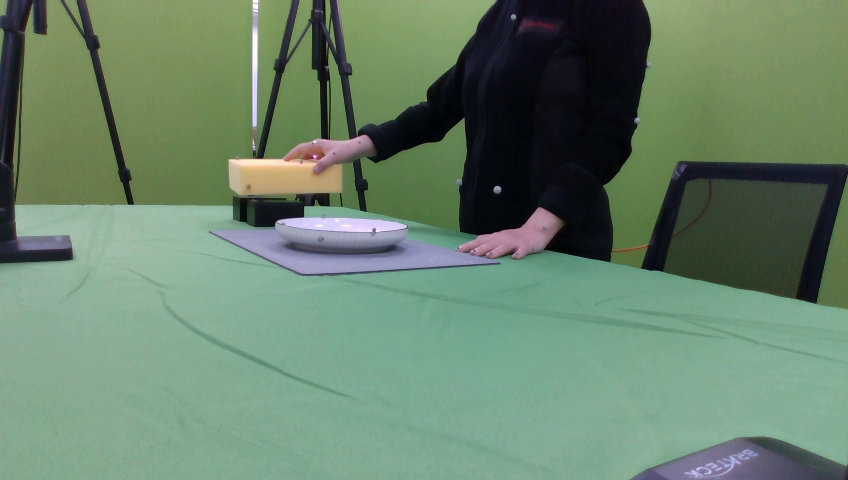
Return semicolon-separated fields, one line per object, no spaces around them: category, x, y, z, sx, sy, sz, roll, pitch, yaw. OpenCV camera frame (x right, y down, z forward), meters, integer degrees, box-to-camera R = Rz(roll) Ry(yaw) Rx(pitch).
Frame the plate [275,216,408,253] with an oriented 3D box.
plate;-0.129;-0.009;0.954;0.209;0.038;0.209;2;7;0

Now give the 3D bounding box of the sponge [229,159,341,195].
sponge;-0.287;-0.132;1.249;0.208;0.061;0.117;-5;13;-28
